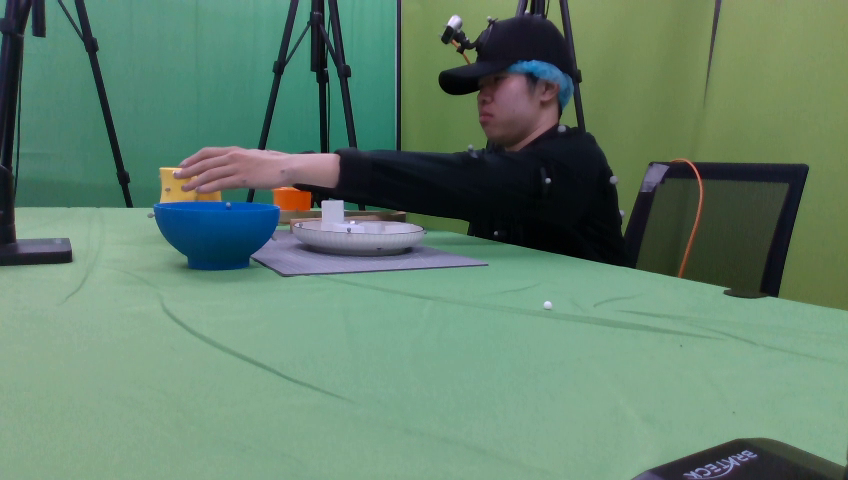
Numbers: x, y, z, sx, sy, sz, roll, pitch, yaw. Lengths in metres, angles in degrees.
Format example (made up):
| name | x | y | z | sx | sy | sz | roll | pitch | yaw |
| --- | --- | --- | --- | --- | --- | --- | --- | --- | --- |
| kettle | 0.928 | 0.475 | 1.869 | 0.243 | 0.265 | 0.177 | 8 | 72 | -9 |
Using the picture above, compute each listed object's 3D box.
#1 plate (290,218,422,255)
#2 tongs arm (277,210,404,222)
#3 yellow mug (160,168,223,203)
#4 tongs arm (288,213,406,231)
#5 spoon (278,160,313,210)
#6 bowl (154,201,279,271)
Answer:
| name | x | y | z | sx | sy | sz | roll | pitch | yaw |
| --- | --- | --- | --- | --- | --- | --- | --- | --- | --- |
| plate | -0.107 | -0.006 | 0.963 | 0.208 | 0.039 | 0.207 | 2 | 8 | 0 |
| tongs arm | -0.205 | -0.051 | 1.331 | 0.387 | 0.026 | 0.050 | -2 | 7 | -43 |
| yellow mug | -0.387 | -0.086 | 1.016 | 0.100 | 0.064 | 0.130 | -1 | 9 | -25 |
| tongs arm | -0.145 | -0.040 | 1.277 | 0.028 | 0.028 | 0.389 | 2 | 4 | 33 |
| spoon | -0.286 | -0.118 | 1.372 | 0.041 | 0.193 | 0.022 | 6 | -37 | 14 |
| bowl | -0.263 | -0.005 | 0.773 | 0.151 | 0.077 | 0.151 | 3 | 8 | 0 |
